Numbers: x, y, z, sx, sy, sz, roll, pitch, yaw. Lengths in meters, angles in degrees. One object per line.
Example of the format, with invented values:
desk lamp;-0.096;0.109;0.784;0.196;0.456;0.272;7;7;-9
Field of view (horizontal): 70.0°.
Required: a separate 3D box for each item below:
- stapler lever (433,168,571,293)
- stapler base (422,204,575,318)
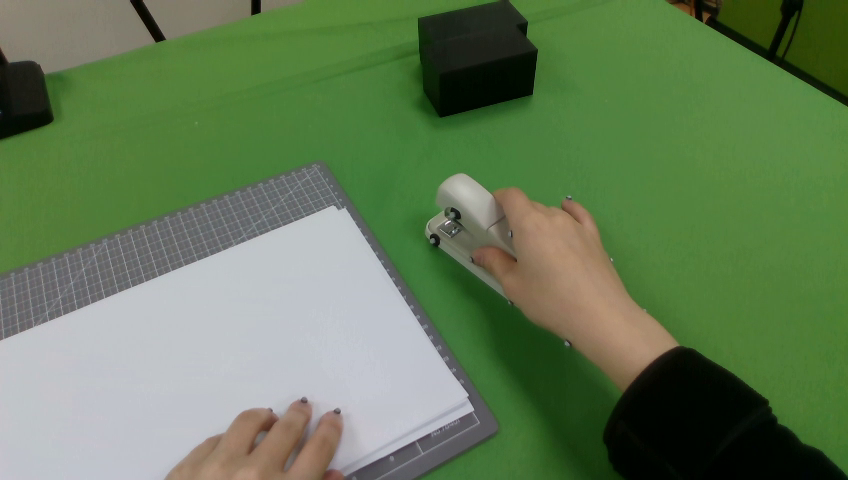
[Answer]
stapler lever;0.054;-0.011;0.439;0.027;0.040;0.117;-39;60;-24
stapler base;0.053;0.005;0.459;0.041;0.024;0.129;-39;60;-24
